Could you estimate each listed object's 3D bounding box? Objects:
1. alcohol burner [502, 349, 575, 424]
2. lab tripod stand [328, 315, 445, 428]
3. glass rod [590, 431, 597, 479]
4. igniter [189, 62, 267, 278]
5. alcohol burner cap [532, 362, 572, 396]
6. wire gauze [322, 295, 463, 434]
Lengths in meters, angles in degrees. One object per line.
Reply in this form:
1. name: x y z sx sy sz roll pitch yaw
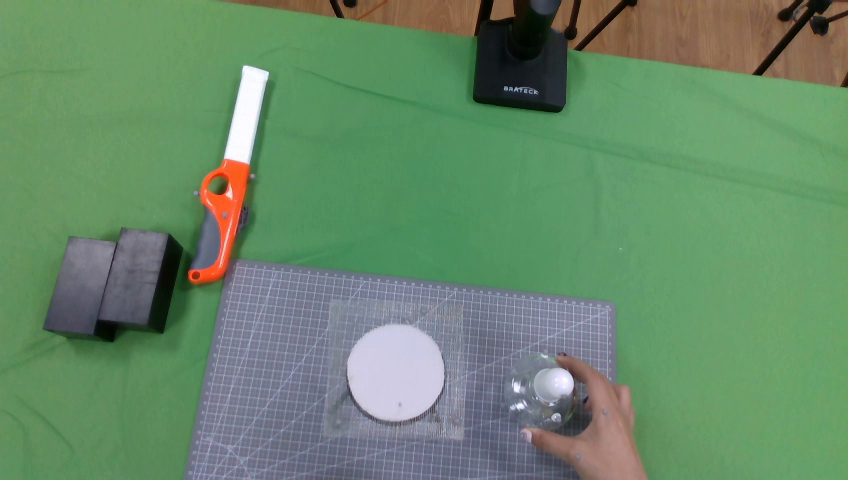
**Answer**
1. alcohol burner: 0.121 0.146 0.617 0.078 0.120 0.077 2 67 -5
2. lab tripod stand: -0.031 0.132 0.602 0.148 0.132 0.147 1 71 -3
3. glass rod: 0.177 0.303 0.632 0.008 0.008 0.198 6 71 -4
4. igniter: -0.226 -0.085 0.711 0.057 0.025 0.275 13 71 -17
5. alcohol burner cap: 0.126 0.133 0.583 0.034 0.048 0.033 2 74 -8
6. wire gauze: -0.027 0.109 0.539 0.125 0.011 0.120 3 71 -5
